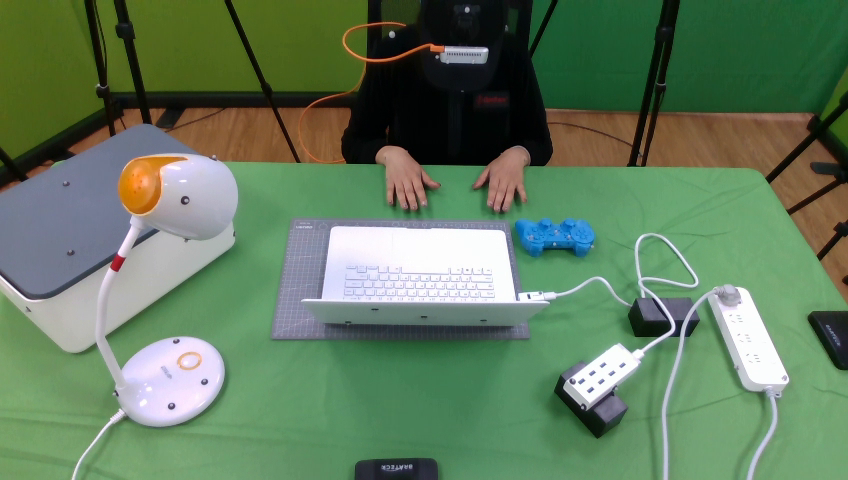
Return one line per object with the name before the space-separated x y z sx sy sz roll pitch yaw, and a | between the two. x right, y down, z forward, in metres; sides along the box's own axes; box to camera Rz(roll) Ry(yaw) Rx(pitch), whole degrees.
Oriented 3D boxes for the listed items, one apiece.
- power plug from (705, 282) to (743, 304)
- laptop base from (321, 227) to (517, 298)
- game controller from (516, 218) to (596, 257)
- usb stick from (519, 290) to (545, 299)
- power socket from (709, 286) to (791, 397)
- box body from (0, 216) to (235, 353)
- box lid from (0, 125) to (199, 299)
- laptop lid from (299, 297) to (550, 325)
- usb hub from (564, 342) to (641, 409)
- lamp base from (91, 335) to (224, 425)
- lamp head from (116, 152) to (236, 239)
power plug | 0.539 0.097 1.098 0.072 0.053 0.035 8 47 8
laptop base | -0.009 0.062 1.137 0.354 0.023 0.234 1 42 -3
game controller | 0.267 -0.015 1.212 0.155 0.052 0.096 0 50 -3
usb stick | 0.186 0.108 1.086 0.059 0.027 0.021 -7 47 1
power socket | 0.568 0.167 1.064 0.072 0.033 0.225 2 46 -1
box body | -0.550 -0.007 1.068 0.253 0.161 0.363 30 51 23
box lid | -0.540 -0.068 1.016 0.262 0.015 0.371 30 51 23
laptop lid | -0.002 0.114 0.943 0.357 0.242 0.013 1 74 -4
usb hub | 0.278 0.208 0.942 0.125 0.025 0.049 -27 52 -28
lamp base | -0.401 0.170 0.892 0.160 0.181 0.179 30 53 23
lamp head | -0.315 -0.057 0.748 0.112 0.112 0.123 26 10 20
